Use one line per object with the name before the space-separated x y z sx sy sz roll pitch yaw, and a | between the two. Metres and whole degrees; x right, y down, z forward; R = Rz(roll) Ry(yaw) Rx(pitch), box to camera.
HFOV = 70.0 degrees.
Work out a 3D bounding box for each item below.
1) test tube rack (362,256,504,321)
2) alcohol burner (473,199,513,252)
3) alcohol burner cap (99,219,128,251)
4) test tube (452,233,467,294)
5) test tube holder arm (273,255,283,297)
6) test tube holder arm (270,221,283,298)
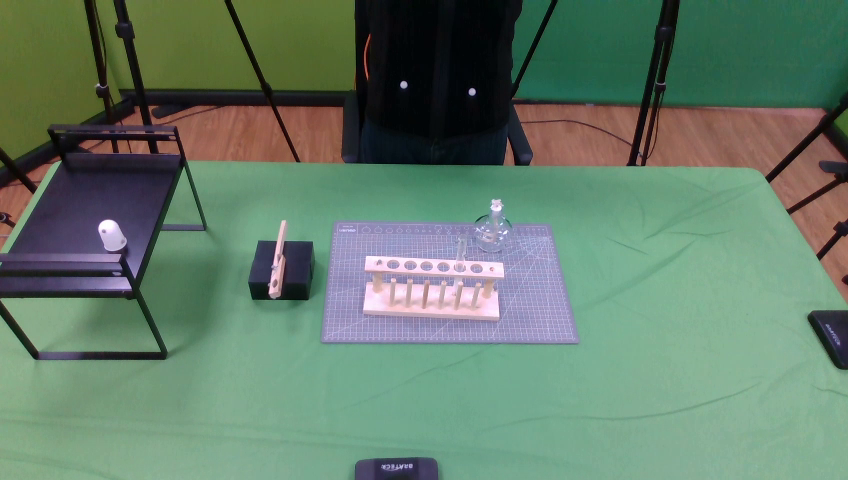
test tube rack | 0.015 0.085 1.069 0.242 0.085 0.066 3 45 -2
alcohol burner | 0.135 -0.034 1.174 0.078 0.120 0.077 1 47 -1
alcohol burner cap | -0.466 -0.010 0.907 0.034 0.048 0.033 1 47 -1
test tube | 0.061 0.045 1.044 0.017 0.151 0.017 1 47 -1
test tube holder arm | -0.253 0.062 1.055 0.010 0.015 0.087 -5 46 -3
test tube holder arm | -0.264 0.031 1.086 0.013 0.015 0.177 -6 46 -4
